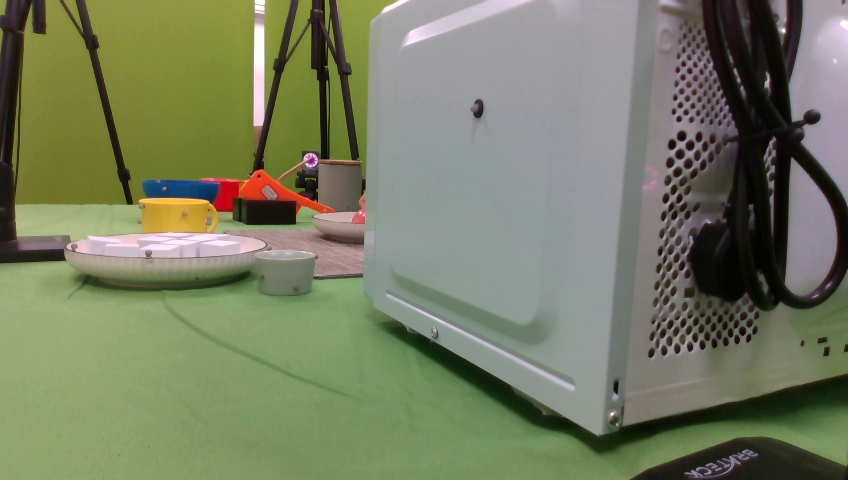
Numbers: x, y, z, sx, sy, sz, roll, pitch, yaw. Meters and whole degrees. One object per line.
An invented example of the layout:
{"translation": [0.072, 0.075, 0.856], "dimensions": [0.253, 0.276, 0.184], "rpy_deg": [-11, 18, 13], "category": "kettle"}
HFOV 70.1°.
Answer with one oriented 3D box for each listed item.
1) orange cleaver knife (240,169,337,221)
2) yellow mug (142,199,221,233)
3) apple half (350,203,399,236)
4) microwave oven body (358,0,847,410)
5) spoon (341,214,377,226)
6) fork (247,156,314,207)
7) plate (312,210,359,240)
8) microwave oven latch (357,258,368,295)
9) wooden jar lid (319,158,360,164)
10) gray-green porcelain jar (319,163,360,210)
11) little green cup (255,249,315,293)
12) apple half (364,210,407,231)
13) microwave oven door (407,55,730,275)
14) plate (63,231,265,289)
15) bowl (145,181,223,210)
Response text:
{"translation": [-0.286, -0.082, 1.298], "dimensions": [0.212, 0.077, 0.012], "rpy_deg": [25, -2, -31], "category": "orange cleaver knife"}
{"translation": [-0.372, -0.030, 0.947], "dimensions": [0.099, 0.064, 0.131], "rpy_deg": [5, 7, 30], "category": "yellow mug"}
{"translation": [-0.082, -0.036, 1.023], "dimensions": [0.081, 0.053, 0.074], "rpy_deg": [-2, 12, -34], "category": "apple half"}
{"translation": [0.210, -0.051, 0.471], "dimensions": [0.444, 0.260, 0.324], "rpy_deg": [-1, 7, -28], "category": "microwave oven body"}
{"translation": [-0.132, -0.048, 1.305], "dimensions": [0.041, 0.021, 0.194], "rpy_deg": [-14, 4, 14], "category": "spoon"}
{"translation": [-0.360, -0.147, 1.523], "dimensions": [0.207, 0.018, 0.028], "rpy_deg": [-43, 16, -7], "category": "fork"}
{"translation": [-0.091, -0.027, 1.062], "dimensions": [0.209, 0.038, 0.209], "rpy_deg": [2, 8, 0], "category": "plate"}
{"translation": [-0.019, 0.031, 0.529], "dimensions": [0.079, 0.029, 0.030], "rpy_deg": [-1, 7, -26], "category": "microwave oven latch"}
{"translation": [-0.203, -0.189, 1.482], "dimensions": [0.108, 0.020, 0.108], "rpy_deg": [2, 10, 0], "category": "wooden jar lid"}
{"translation": [-0.204, -0.126, 1.490], "dimensions": [0.106, 0.126, 0.106], "rpy_deg": [2, 7, 0], "category": "gray-green porcelain jar"}
{"translation": [-0.144, 0.031, 0.627], "dimensions": [0.061, 0.038, 0.061], "rpy_deg": [2, 6, 0], "category": "little green cup"}
{"translation": [-0.068, -0.038, 1.103], "dimensions": [0.081, 0.033, 0.081], "rpy_deg": [-1, 11, 1], "category": "apple half"}
{"translation": [0.162, -0.088, 0.708], "dimensions": [0.356, 0.243, 0.039], "rpy_deg": [2, 8, 3], "category": "microwave oven door"}
{"translation": [-0.288, 0.021, 0.687], "dimensions": [0.208, 0.039, 0.207], "rpy_deg": [2, 8, 0], "category": "plate"}
{"translation": [-0.499, -0.081, 1.261], "dimensions": [0.151, 0.077, 0.151], "rpy_deg": [2, 7, 0], "category": "bowl"}
